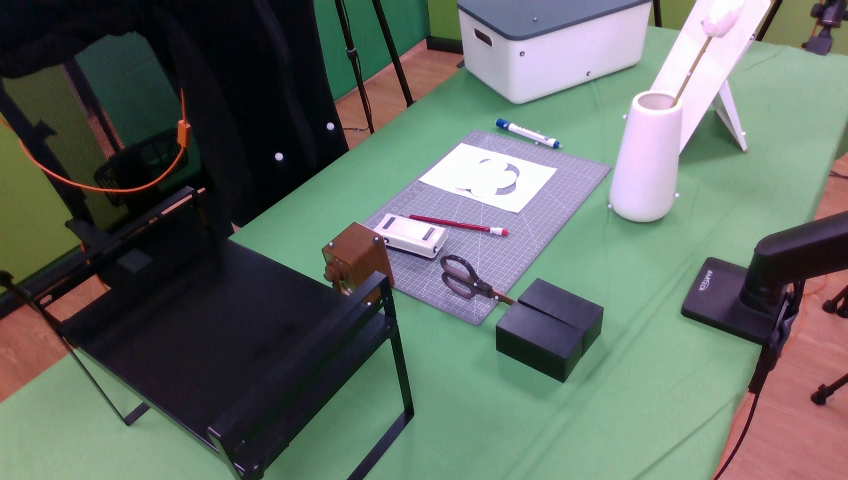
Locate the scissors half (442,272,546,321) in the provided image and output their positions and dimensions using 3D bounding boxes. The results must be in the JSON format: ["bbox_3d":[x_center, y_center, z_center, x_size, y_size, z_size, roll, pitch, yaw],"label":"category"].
[{"bbox_3d":[0.094,0.080,0.838,0.173,0.040,0.013,19,46,39],"label":"scissors half"}]

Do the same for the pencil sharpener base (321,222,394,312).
[{"bbox_3d":[-0.096,0.041,0.873,0.061,0.107,0.077,26,54,32],"label":"pencil sharpener base"}]

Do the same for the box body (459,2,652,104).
[{"bbox_3d":[0.291,-0.465,1.371,0.365,0.161,0.252,-22,42,-16],"label":"box body"}]

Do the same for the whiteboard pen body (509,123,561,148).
[{"bbox_3d":[0.208,-0.211,1.196,0.139,0.017,0.017,30,52,33],"label":"whiteboard pen body"}]

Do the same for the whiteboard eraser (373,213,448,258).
[{"bbox_3d":[-0.022,-0.005,0.965,0.112,0.042,0.055,15,44,24],"label":"whiteboard eraser"}]

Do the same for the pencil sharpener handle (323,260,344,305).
[{"bbox_3d":[-0.131,0.061,0.839,0.035,0.068,0.031,29,56,28],"label":"pencil sharpener handle"}]

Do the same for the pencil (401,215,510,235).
[{"bbox_3d":[0.049,-0.027,1.007,0.193,0.012,0.012,10,43,21],"label":"pencil"}]

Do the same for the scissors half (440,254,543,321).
[{"bbox_3d":[0.092,0.065,0.825,0.174,0.040,0.013,32,58,25],"label":"scissors half"}]

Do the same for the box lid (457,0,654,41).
[{"bbox_3d":[0.285,-0.522,1.323,0.373,0.015,0.261,-22,43,-16],"label":"box lid"}]

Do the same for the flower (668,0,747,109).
[{"bbox_3d":[0.354,-0.187,0.879,0.038,0.362,0.044,30,48,14],"label":"flower"}]

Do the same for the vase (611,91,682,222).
[{"bbox_3d":[0.348,-0.125,0.935,0.098,0.201,0.097,-3,40,3],"label":"vase"}]

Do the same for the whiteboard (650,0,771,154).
[{"bbox_3d":[0.543,-0.298,1.076,0.144,0.305,0.216,12,40,-7],"label":"whiteboard"}]

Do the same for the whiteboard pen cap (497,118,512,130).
[{"bbox_3d":[0.165,-0.235,1.227,0.033,0.018,0.018,31,53,31],"label":"whiteboard pen cap"}]
